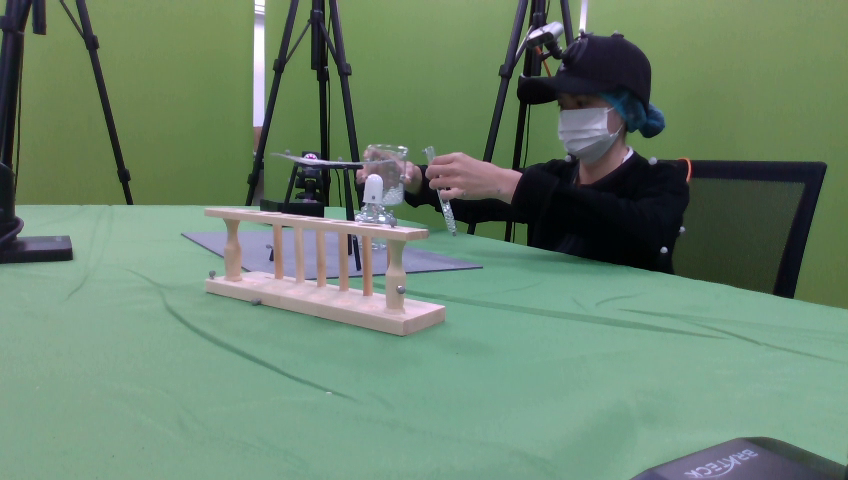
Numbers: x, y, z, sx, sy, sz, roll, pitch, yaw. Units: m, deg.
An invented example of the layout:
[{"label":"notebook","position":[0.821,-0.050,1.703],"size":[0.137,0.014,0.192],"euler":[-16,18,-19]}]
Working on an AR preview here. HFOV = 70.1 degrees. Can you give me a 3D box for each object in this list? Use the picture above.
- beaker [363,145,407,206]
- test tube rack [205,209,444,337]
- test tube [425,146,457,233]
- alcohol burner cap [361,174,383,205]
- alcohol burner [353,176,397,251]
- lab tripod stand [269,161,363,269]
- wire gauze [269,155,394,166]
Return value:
[{"label":"beaker","position":[-0.068,-0.114,1.073],"size":[0.074,0.100,0.083],"euler":[-12,23,-43]},{"label":"test tube rack","position":[-0.100,0.021,0.565],"size":[0.241,0.085,0.067],"euler":[7,9,32]},{"label":"test tube","position":[0.028,-0.083,0.990],"size":[0.017,0.150,0.017],"euler":[-15,-11,-3]},{"label":"alcohol burner cap","position":[-0.080,-0.078,0.944],"size":[0.034,0.048,0.034],"euler":[5,8,0]},{"label":"alcohol burner","position":[-0.082,-0.043,0.950],"size":[0.078,0.119,0.078],"euler":[1,8,0]},{"label":"lab tripod stand","position":[-0.125,-0.036,0.794],"size":[0.148,0.131,0.148],"euler":[5,7,0]},{"label":"wire gauze","position":[-0.121,-0.102,0.785],"size":[0.122,0.011,0.124],"euler":[-3,10,-39]}]
